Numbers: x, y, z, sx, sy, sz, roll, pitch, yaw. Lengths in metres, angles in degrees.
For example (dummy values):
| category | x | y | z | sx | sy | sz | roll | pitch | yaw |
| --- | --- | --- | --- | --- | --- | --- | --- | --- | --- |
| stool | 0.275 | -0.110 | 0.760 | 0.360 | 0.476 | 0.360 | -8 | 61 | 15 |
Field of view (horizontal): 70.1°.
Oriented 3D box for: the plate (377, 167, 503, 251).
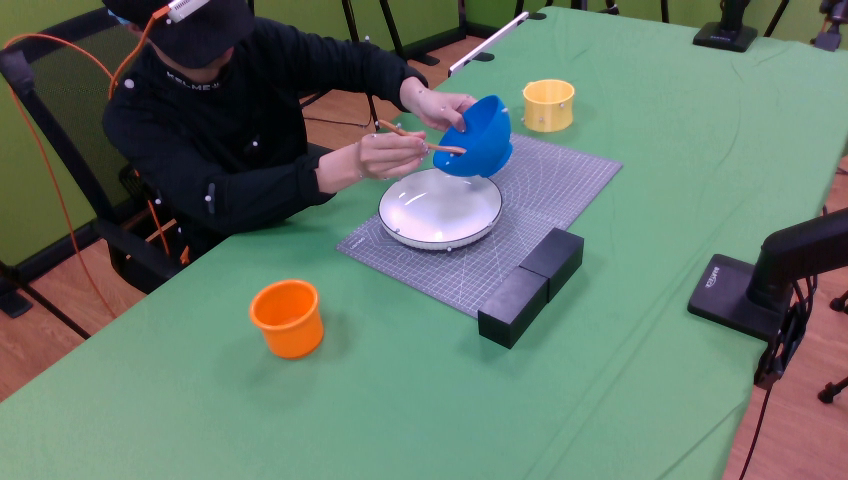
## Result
| category | x | y | z | sx | sy | sz | roll | pitch | yaw |
| --- | --- | --- | --- | --- | --- | --- | --- | --- | --- |
| plate | 0.027 | -0.050 | 1.007 | 0.209 | 0.038 | 0.208 | -4 | 41 | 4 |

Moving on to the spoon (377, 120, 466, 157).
| category | x | y | z | sx | sy | sz | roll | pitch | yaw |
| --- | --- | --- | --- | --- | --- | --- | --- | --- | --- |
| spoon | 0.010 | -0.147 | 0.930 | 0.195 | 0.021 | 0.041 | 13 | 2 | -35 |

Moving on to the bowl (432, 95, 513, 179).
| category | x | y | z | sx | sy | sz | roll | pitch | yaw |
| --- | --- | --- | --- | --- | --- | --- | --- | --- | --- |
| bowl | 0.092 | -0.152 | 0.983 | 0.151 | 0.077 | 0.150 | -41 | 24 | 24 |

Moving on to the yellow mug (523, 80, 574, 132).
| category | x | y | z | sx | sy | sz | roll | pitch | yaw |
| --- | --- | --- | --- | --- | --- | --- | --- | --- | --- |
| yellow mug | 0.242 | -0.278 | 1.224 | 0.100 | 0.064 | 0.129 | -24 | 42 | -18 |
